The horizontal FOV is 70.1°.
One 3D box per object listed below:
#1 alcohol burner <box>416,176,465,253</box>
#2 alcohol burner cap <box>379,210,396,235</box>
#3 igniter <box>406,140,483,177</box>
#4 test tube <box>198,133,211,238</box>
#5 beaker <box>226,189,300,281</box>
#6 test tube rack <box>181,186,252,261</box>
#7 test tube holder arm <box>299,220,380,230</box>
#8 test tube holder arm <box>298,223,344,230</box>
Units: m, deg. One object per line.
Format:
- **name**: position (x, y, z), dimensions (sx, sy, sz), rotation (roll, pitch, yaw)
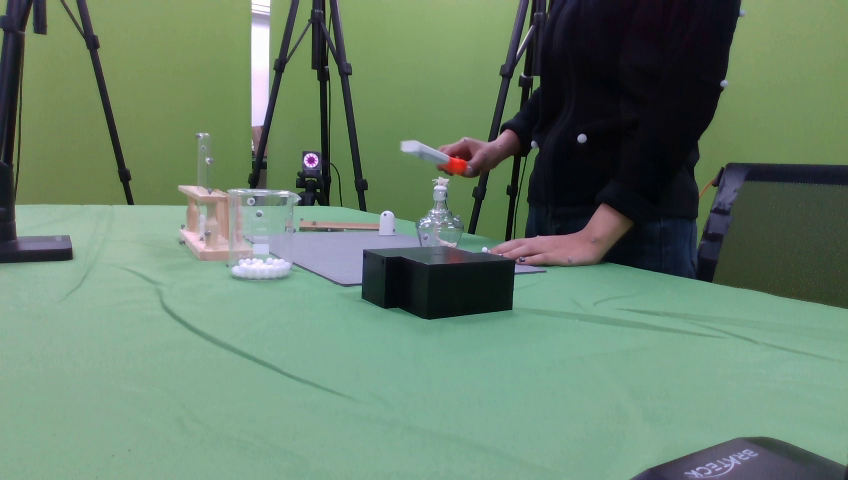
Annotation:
- **alcohol burner**: position (0.025, -0.040, 0.935), dimensions (0.078, 0.119, 0.078), rotation (1, 6, 0)
- **alcohol burner cap**: position (-0.067, -0.033, 1.129), dimensions (0.034, 0.048, 0.034), rotation (1, 8, 0)
- **igniter**: position (0.044, -0.146, 1.102), dimensions (0.057, 0.025, 0.278), rotation (2, -2, 26)
- **test tube**: position (-0.316, -0.078, 0.871), dimensions (0.017, 0.150, 0.017), rotation (2, 3, 0)
- **beaker**: position (-0.184, -0.007, 0.694), dimensions (0.084, 0.100, 0.073), rotation (-1, 8, -29)
- **test tube rack**: position (-0.312, -0.031, 0.893), dimensions (0.067, 0.085, 0.241), rotation (-1, 8, -27)
- **test tube holder arm**: position (-0.153, -0.028, 1.174), dimensions (0.179, 0.015, 0.013), rotation (1, -27, -21)
- **test tube holder arm**: position (-0.197, -0.026, 1.163), dimensions (0.088, 0.015, 0.010), rotation (0, -27, -20)
